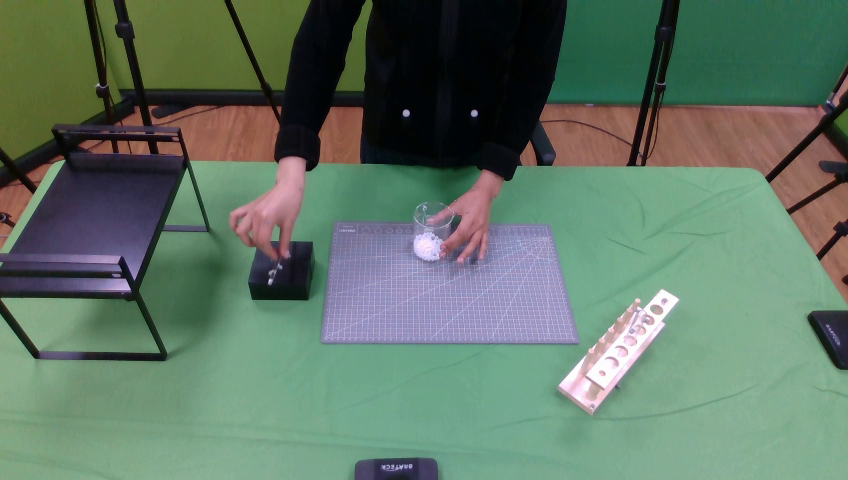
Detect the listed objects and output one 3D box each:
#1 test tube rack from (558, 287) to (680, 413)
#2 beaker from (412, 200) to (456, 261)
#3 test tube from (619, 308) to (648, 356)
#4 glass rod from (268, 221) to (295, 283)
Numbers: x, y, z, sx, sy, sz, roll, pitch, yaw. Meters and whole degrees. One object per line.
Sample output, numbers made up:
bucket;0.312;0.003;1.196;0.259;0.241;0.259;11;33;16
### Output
test tube rack;0.326;0.170;1.009;0.066;0.085;0.242;36;54;26
beaker;0.017;-0.016;1.152;0.084;0.101;0.073;-12;49;-14
test tube;0.326;0.155;0.955;0.017;0.151;0.017;-1;50;1
glass rod;-0.249;0.017;1.064;0.008;0.008;0.198;3;31;-1
